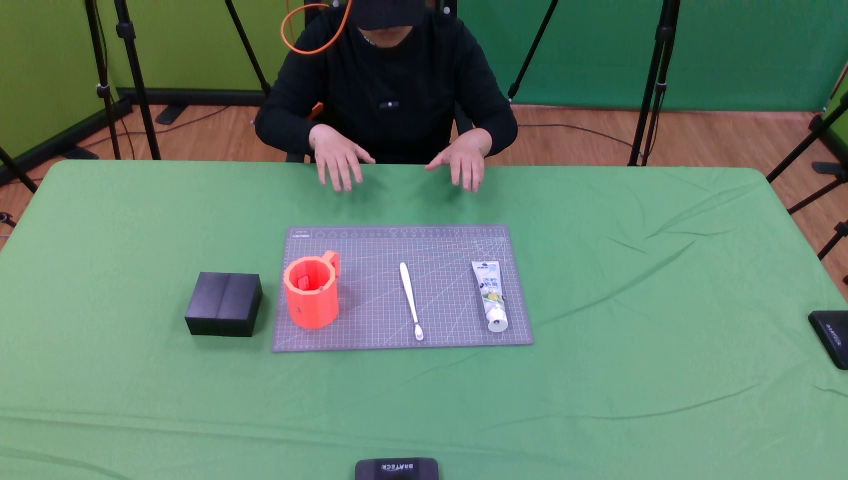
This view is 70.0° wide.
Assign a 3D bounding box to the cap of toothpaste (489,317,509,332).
[{"bbox_3d":[0.130,0.146,1.050,0.037,0.037,0.011,-2,42,-5],"label":"cap of toothpaste"}]

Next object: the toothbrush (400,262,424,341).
[{"bbox_3d":[-0.025,0.106,1.093,0.014,0.017,0.180,-18,46,2],"label":"toothbrush"}]

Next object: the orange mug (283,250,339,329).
[{"bbox_3d":[-0.186,0.078,1.052,0.083,0.101,0.126,20,52,15],"label":"orange mug"}]

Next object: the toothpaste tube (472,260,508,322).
[{"bbox_3d":[0.126,0.094,1.109,0.055,0.034,0.164,3,41,-9],"label":"toothpaste tube"}]
